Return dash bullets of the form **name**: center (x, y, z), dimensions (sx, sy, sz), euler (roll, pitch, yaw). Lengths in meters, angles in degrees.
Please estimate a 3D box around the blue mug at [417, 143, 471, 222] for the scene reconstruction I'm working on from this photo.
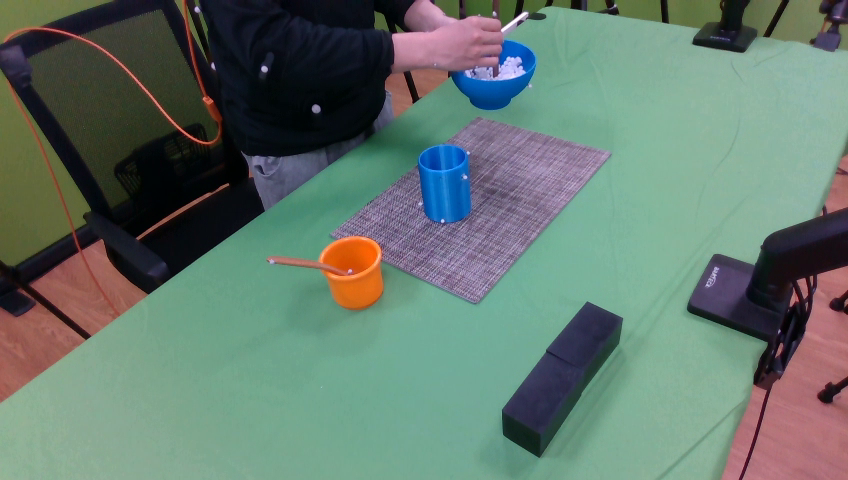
- **blue mug**: center (0.031, -0.104, 1.014), dimensions (0.082, 0.106, 0.115), euler (-14, 41, -7)

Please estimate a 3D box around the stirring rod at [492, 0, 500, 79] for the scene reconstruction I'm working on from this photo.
- **stirring rod**: center (0.120, -0.342, 1.006), dimensions (0.006, 0.177, 0.014), euler (28, 57, 27)

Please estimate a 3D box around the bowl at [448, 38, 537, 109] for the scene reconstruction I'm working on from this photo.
- **bowl**: center (0.116, -0.279, 1.043), dimensions (0.151, 0.077, 0.150), euler (-1, 44, 2)

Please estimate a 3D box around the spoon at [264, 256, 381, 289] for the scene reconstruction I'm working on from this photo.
- **spoon**: center (-0.136, 0.041, 0.842), dimensions (0.021, 0.195, 0.041), euler (-56, 46, 13)
